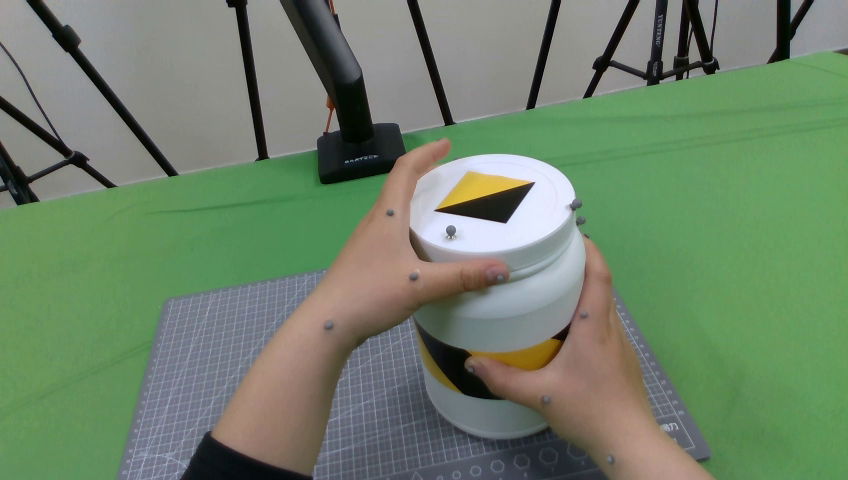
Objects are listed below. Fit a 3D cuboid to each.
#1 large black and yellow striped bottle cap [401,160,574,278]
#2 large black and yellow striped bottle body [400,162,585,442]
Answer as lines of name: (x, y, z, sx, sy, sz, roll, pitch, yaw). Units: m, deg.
large black and yellow striped bottle cap: (0.041, -0.018, 0.404, 0.115, 0.019, 0.114, -5, 36, 4)
large black and yellow striped bottle body: (0.053, 0.047, 0.456, 0.131, 0.186, 0.129, -6, 38, 5)
